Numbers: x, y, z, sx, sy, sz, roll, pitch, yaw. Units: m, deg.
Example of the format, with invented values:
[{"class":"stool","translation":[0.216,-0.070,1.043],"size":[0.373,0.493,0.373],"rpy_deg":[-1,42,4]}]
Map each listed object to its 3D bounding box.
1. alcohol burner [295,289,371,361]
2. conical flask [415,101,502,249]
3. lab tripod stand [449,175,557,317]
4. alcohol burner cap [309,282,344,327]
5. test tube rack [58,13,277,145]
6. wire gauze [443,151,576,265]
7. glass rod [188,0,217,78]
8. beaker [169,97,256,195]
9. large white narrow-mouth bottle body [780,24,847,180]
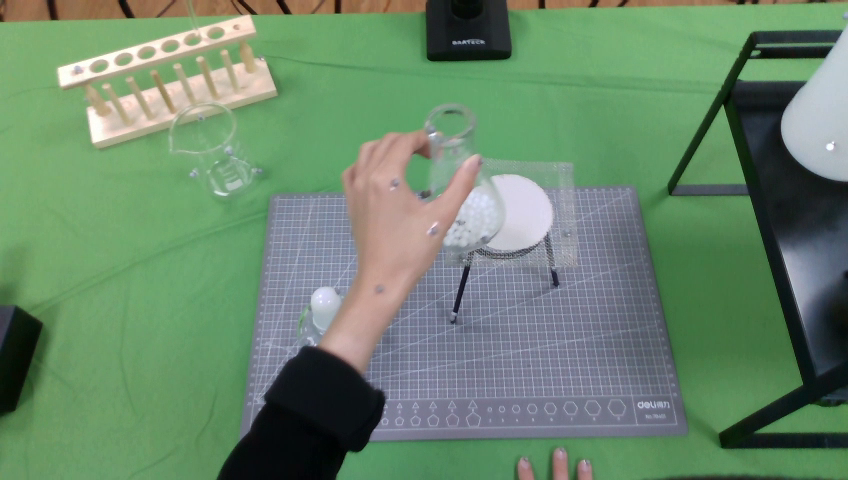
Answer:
[{"class":"alcohol burner","translation":[-0.094,0.078,0.609],"size":[0.078,0.120,0.077],"rpy_deg":[1,60,-1]},{"class":"conical flask","translation":[0.022,-0.053,0.478],"size":[0.075,0.123,0.074],"rpy_deg":[-4,56,7]},{"class":"lab tripod stand","translation":[0.077,0.004,0.635],"size":[0.148,0.132,0.147],"rpy_deg":[0,60,0]},{"class":"alcohol burner cap","translation":[-0.095,0.059,0.578],"size":[0.034,0.048,0.033],"rpy_deg":[1,55,-2]},{"class":"test tube rack","translation":[-0.325,-0.209,0.786],"size":[0.242,0.086,0.066],"rpy_deg":[-19,63,-9]},{"class":"wire gauze","translation":[0.083,-0.032,0.578],"size":[0.121,0.011,0.124],"rpy_deg":[4,62,2]},{"class":"glass rod","translation":[-0.279,-0.272,0.744],"size":[0.008,0.201,0.008],"rpy_deg":[2,60,-3]},{"class":"beaker","translation":[-0.249,-0.106,0.722],"size":[0.084,0.101,0.073],"rpy_deg":[-40,67,-18]},{"class":"large white narrow-mouth bottle body","translation":[0.372,-0.139,0.472],"size":[0.102,0.196,0.101],"rpy_deg":[0,60,0]}]
